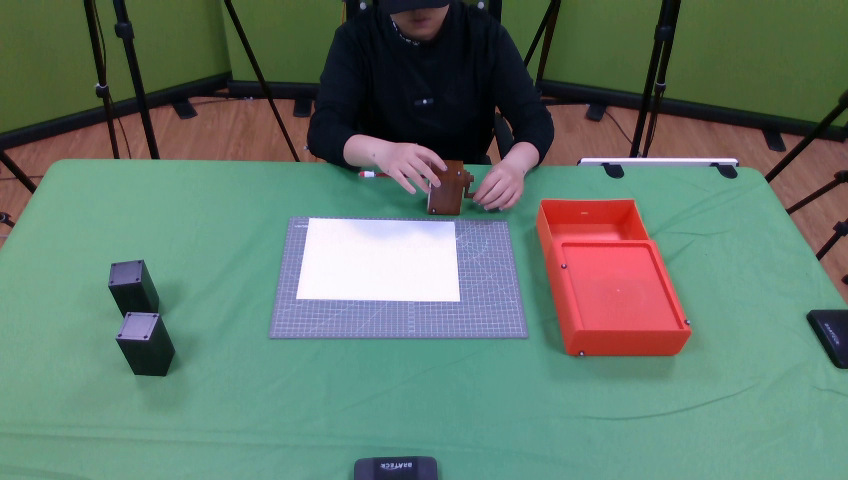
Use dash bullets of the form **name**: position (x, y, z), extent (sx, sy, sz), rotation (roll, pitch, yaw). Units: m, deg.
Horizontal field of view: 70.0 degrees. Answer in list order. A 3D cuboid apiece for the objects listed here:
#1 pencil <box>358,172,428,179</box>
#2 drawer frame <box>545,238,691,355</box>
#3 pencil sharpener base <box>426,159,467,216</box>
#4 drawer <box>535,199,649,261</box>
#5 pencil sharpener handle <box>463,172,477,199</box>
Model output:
- **pencil**: position (-0.035, -0.129, 1.224), extent (0.194, 0.012, 0.012), rotation (2, 45, -4)
- **drawer frame**: position (0.338, 0.097, 1.085), extent (0.202, 0.083, 0.212), rotation (0, 46, -4)
- **pencil sharpener base**: position (0.045, -0.106, 1.246), extent (0.077, 0.107, 0.061), rotation (2, 45, -3)
- **drawer**: position (0.332, 0.015, 1.169), extent (0.195, 0.073, 0.210), rotation (0, 46, -5)
- **pencil sharpener handle**: position (0.096, -0.112, 1.239), extent (0.031, 0.068, 0.036), rotation (2, 39, -3)
